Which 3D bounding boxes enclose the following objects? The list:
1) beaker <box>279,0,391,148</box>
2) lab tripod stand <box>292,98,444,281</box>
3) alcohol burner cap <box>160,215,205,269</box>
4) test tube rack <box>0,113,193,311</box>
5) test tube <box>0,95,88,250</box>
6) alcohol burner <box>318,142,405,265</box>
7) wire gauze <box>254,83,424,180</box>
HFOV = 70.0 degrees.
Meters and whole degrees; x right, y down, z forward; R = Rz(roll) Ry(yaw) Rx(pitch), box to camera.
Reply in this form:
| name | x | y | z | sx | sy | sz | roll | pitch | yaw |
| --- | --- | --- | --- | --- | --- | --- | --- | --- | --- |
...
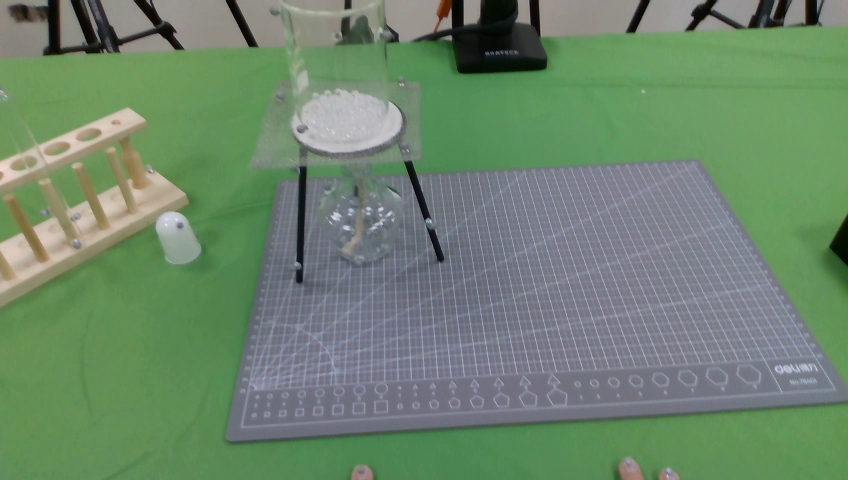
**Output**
| name | x | y | z | sx | sy | sz | roll | pitch | yaw |
| --- | --- | --- | --- | --- | --- | --- | --- | --- | --- |
| beaker | -0.060 | -0.127 | 0.440 | 0.074 | 0.101 | 0.083 | 5 | 42 | 4 |
| lab tripod stand | -0.052 | -0.042 | 0.518 | 0.148 | 0.132 | 0.147 | 1 | 42 | 0 |
| alcohol burner cap | -0.221 | -0.001 | 0.549 | 0.034 | 0.048 | 0.033 | 0 | 43 | 0 |
| test tube rack | -0.340 | -0.018 | 0.536 | 0.066 | 0.086 | 0.242 | 31 | 52 | 31 |
| test tube | -0.316 | -0.051 | 0.506 | 0.017 | 0.151 | 0.017 | 0 | 41 | 0 |
| alcohol burner | -0.055 | -0.035 | 0.525 | 0.078 | 0.120 | 0.077 | 1 | 44 | 0 |
| wire gauze | -0.061 | -0.089 | 0.471 | 0.121 | 0.011 | 0.124 | -1 | 45 | 0 |
